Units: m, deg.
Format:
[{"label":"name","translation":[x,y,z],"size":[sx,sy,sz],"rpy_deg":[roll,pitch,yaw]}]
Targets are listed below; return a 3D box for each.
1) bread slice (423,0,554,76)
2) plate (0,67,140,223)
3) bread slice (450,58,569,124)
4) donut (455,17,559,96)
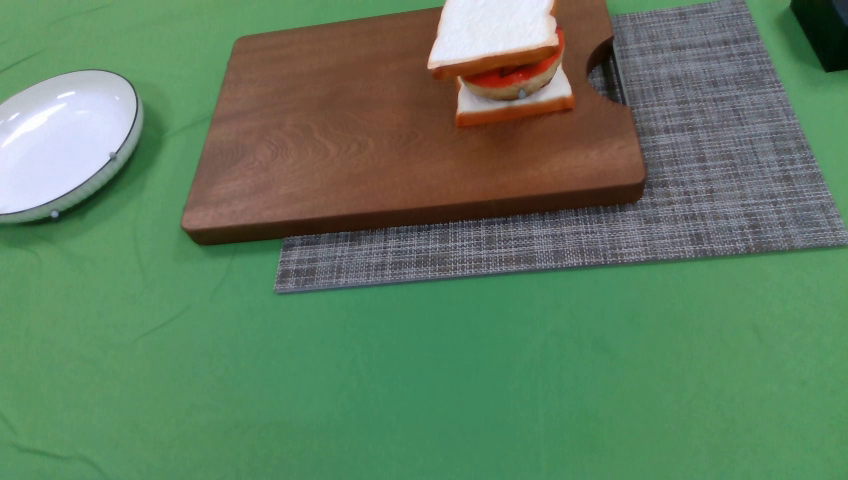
[{"label":"bread slice","translation":[0.057,-0.194,0.519],"size":[0.106,0.018,0.133],"rpy_deg":[-7,52,18]},{"label":"plate","translation":[-0.398,-0.100,0.645],"size":[0.209,0.038,0.207],"rpy_deg":[-6,56,9]},{"label":"bread slice","translation":[0.072,-0.166,0.569],"size":[0.105,0.019,0.130],"rpy_deg":[-8,56,5]},{"label":"donut","translation":[0.069,-0.170,0.535],"size":[0.099,0.049,0.098],"rpy_deg":[-6,56,10]}]
